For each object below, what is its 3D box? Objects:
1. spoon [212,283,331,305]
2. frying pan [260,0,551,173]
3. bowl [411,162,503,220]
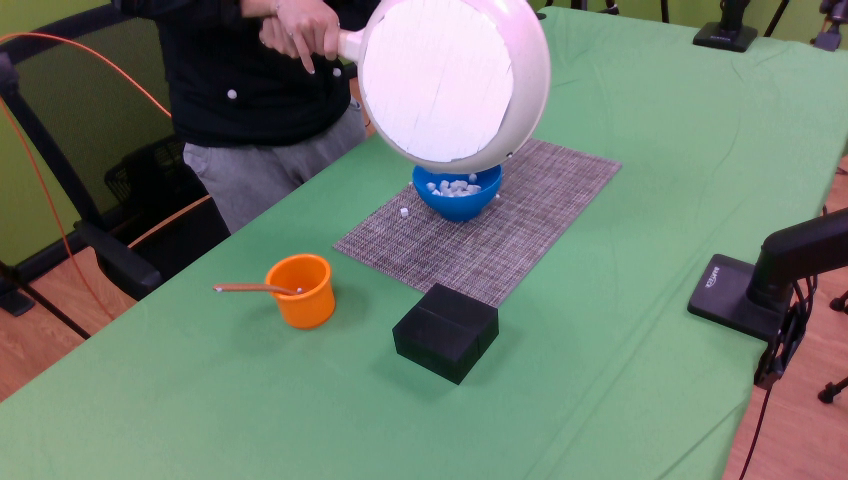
[{"bbox_3d":[-0.201,0.069,0.819,0.041,0.195,0.021,33,99,37],"label":"spoon"},{"bbox_3d":[-0.058,-0.269,0.893,0.485,0.307,0.103,25,29,23],"label":"frying pan"},{"bbox_3d":[0.057,-0.086,1.010,0.151,0.077,0.150,-4,40,4],"label":"bowl"}]
